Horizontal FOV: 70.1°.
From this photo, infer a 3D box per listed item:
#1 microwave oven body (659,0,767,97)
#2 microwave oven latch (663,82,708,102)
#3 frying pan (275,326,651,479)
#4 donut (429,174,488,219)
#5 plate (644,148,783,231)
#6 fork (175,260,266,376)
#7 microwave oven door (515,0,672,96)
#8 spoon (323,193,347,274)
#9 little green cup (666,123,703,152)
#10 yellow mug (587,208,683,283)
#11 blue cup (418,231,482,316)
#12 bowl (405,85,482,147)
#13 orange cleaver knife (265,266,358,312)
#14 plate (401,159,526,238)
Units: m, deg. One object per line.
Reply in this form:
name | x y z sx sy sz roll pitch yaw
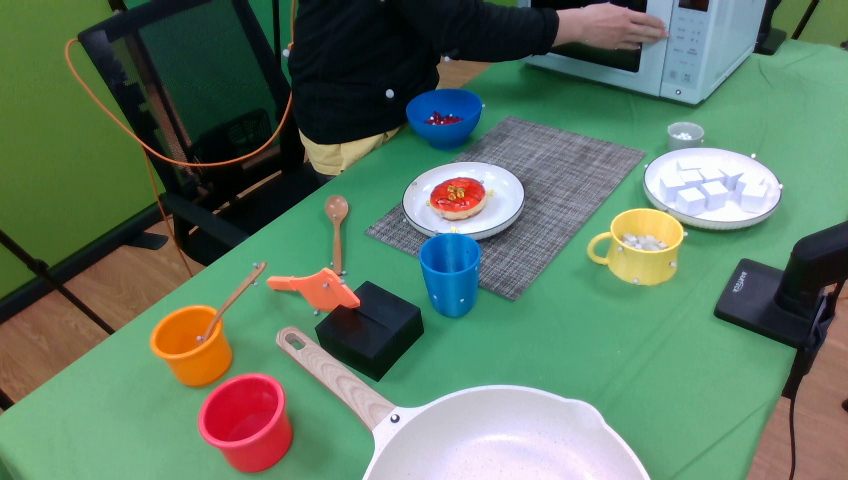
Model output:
microwave oven body | 0.473 -0.516 1.313 0.438 0.261 0.327 26 51 34
microwave oven latch | 0.518 -0.299 1.202 0.078 0.029 0.030 29 53 36
frying pan | 0.004 0.229 0.641 0.484 0.103 0.308 34 54 28
donut | 0.058 -0.075 1.015 0.099 0.048 0.098 -6 38 5
plate | 0.465 -0.080 0.986 0.207 0.039 0.206 -4 41 4
fork | -0.268 0.103 0.792 0.207 0.019 0.028 -51 41 16
microwave oven door | 0.342 -0.456 1.254 0.353 0.245 0.039 27 51 33
spoon | -0.148 -0.014 1.008 0.042 0.021 0.192 6 38 -14
little green cup | 0.472 -0.184 1.102 0.061 0.039 0.061 -4 40 4
yellow mug | 0.305 0.009 0.884 0.131 0.064 0.099 -4 41 5
blue cup | 0.040 0.052 0.843 0.092 0.100 0.092 -4 43 4
bowl | 0.041 -0.236 1.197 0.151 0.077 0.150 -4 40 4
orange cleaver knife | -0.164 0.073 0.864 0.210 0.077 0.012 -6 31 50
plate | 0.067 -0.065 1.019 0.209 0.038 0.208 -4 40 4
